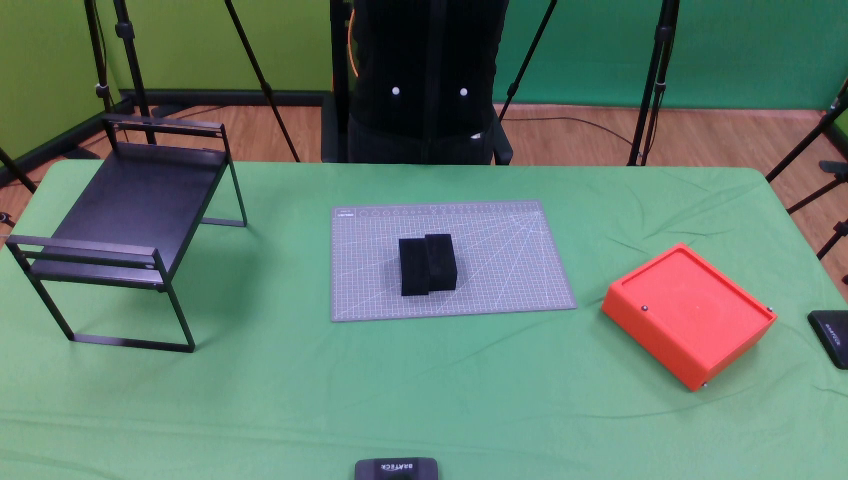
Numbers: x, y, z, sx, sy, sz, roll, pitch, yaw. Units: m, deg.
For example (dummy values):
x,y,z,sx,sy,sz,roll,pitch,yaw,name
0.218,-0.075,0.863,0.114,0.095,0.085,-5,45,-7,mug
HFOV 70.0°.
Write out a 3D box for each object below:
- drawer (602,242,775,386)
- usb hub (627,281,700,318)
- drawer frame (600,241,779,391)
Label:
x,y,z,sx,sy,sz,roll,pitch,yaw,name
0.460,0.124,1.067,0.194,0.073,0.210,-24,52,-26,drawer
0.436,0.109,1.100,0.125,0.025,0.049,-9,46,-19,usb hub
0.462,0.124,1.066,0.202,0.083,0.212,-26,54,-26,drawer frame
